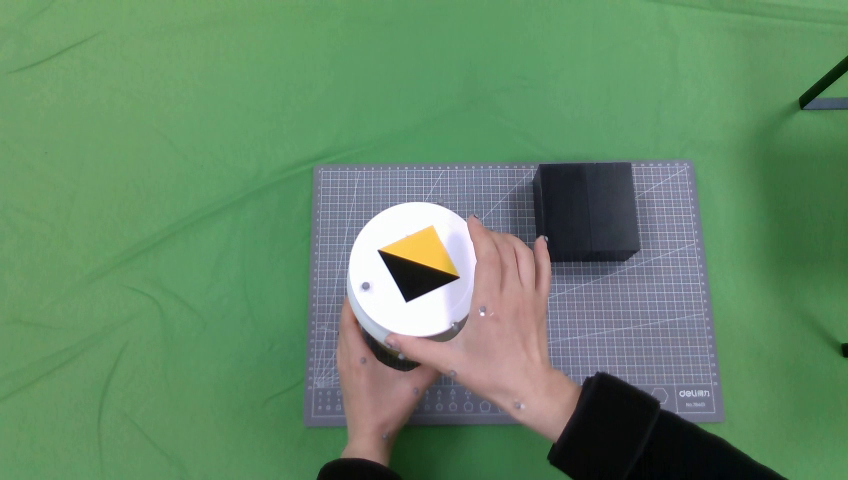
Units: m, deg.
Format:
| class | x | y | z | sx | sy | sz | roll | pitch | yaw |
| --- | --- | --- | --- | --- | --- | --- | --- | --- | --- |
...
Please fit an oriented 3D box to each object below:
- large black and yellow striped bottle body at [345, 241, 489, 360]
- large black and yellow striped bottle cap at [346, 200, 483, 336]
| class | x | y | z | sx | sy | sz | roll | pitch | yaw |
| --- | --- | --- | --- | --- | --- | --- | --- | --- | --- |
| large black and yellow striped bottle body | -0.006 | 0.045 | 0.591 | 0.131 | 0.185 | 0.130 | 0 | 75 | 0 |
| large black and yellow striped bottle cap | -0.008 | 0.022 | 0.505 | 0.115 | 0.019 | 0.114 | 1 | 76 | -2 |
